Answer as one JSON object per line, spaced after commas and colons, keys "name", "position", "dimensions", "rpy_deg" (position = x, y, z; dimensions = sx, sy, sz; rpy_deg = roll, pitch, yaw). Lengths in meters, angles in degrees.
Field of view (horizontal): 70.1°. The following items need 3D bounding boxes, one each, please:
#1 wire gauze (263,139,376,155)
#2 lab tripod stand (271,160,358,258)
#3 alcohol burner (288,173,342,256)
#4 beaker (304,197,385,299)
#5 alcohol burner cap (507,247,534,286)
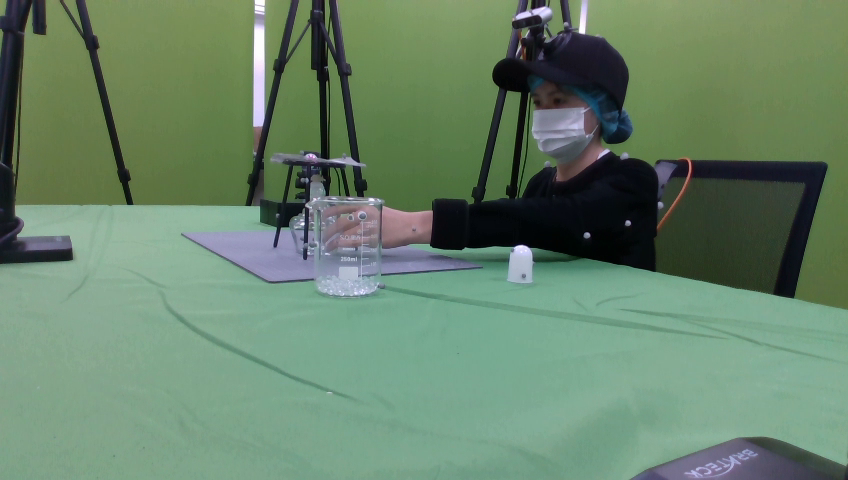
{"name": "wire gauze", "position": [-0.151, -0.130, 0.869], "dimensions": [0.122, 0.011, 0.124], "rpy_deg": [-8, 5, -35]}
{"name": "lab tripod stand", "position": [-0.159, -0.048, 0.876], "dimensions": [0.148, 0.131, 0.148], "rpy_deg": [3, 5, 0]}
{"name": "alcohol burner", "position": [-0.157, -0.037, 0.872], "dimensions": [0.078, 0.119, 0.078], "rpy_deg": [1, 6, 0]}
{"name": "beaker", "position": [-0.083, 0.007, 0.629], "dimensions": [0.084, 0.100, 0.073], "rpy_deg": [-1, 7, -21]}
{"name": "alcohol burner cap", "position": [0.119, 0.032, 0.740], "dimensions": [0.034, 0.048, 0.034], "rpy_deg": [1, 7, 0]}
